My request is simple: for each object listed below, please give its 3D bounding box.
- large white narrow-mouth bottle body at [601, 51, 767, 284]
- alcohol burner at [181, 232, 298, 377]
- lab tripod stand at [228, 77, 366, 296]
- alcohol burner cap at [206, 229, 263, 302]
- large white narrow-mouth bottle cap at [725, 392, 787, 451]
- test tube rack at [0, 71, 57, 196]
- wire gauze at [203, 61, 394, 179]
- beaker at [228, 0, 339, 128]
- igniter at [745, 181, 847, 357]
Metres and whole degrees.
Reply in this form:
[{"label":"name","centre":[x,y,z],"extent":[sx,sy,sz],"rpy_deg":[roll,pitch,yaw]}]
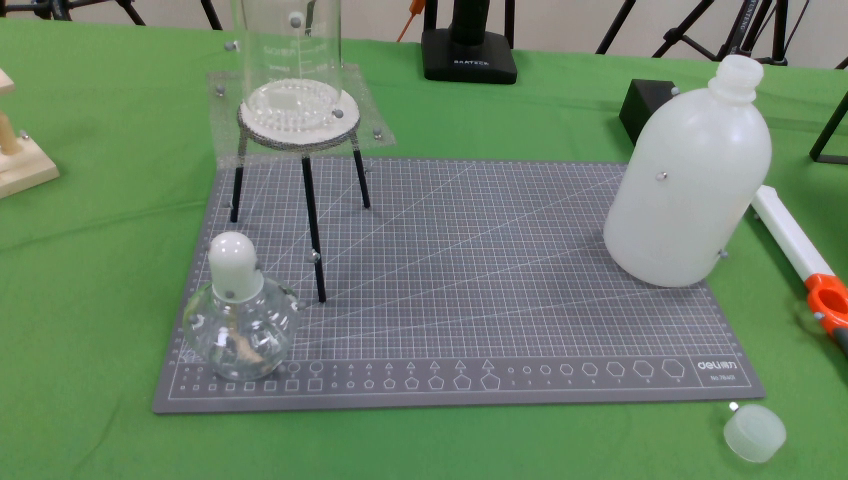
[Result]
[{"label":"large white narrow-mouth bottle body","centre":[0.220,-0.060,0.501],"extent":[0.102,0.196,0.101],"rpy_deg":[3,44,-3]},{"label":"alcohol burner","centre":[-0.126,0.039,0.412],"extent":[0.078,0.120,0.077],"rpy_deg":[5,43,-4]},{"label":"lab tripod stand","centre":[-0.098,-0.049,0.492],"extent":[0.148,0.132,0.147],"rpy_deg":[5,45,-5]},{"label":"alcohol burner cap","centre":[-0.122,0.014,0.385],"extent":[0.034,0.048,0.033],"rpy_deg":[3,50,-4]},{"label":"large white narrow-mouth bottle cap","centre":[0.239,0.131,0.437],"extent":[0.038,0.024,0.037],"rpy_deg":[3,44,-3]},{"label":"test tube rack","centre":[-0.450,-0.056,0.490],"extent":[0.066,0.086,0.242],"rpy_deg":[37,51,27]},{"label":"wire gauze","centre":[-0.096,-0.097,0.448],"extent":[0.122,0.011,0.123],"rpy_deg":[-11,51,-15]},{"label":"beaker","centre":[-0.096,-0.135,0.415],"extent":[0.084,0.101,0.073],"rpy_deg":[-4,47,-12]},{"label":"igniter","centre":[0.355,0.040,0.542],"extent":[0.057,0.025,0.273],"rpy_deg":[9,43,-13]}]
